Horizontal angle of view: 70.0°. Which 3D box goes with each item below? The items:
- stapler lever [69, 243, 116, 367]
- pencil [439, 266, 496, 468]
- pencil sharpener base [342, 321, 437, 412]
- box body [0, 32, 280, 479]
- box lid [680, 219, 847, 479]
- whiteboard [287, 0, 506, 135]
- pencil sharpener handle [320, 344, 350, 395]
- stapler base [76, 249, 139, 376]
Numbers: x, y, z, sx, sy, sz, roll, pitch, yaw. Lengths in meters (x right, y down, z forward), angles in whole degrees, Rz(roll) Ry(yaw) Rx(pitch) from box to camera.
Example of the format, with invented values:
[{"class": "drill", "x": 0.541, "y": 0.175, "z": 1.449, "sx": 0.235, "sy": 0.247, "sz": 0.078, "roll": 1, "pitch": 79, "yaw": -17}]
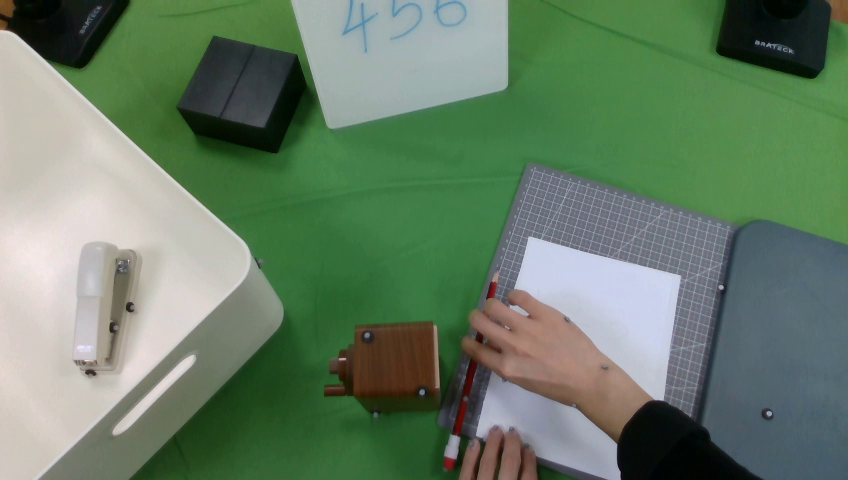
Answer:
[{"class": "stapler lever", "x": -0.315, "y": 0.059, "z": 0.574, "sx": 0.027, "sy": 0.040, "sz": 0.117, "roll": -1, "pitch": 70, "yaw": 2}, {"class": "pencil", "x": 0.043, "y": 0.115, "z": 0.568, "sx": 0.012, "sy": 0.012, "sz": 0.193, "roll": 14, "pitch": 75, "yaw": 7}, {"class": "pencil sharpener base", "x": -0.028, "y": 0.115, "z": 0.537, "sx": 0.077, "sy": 0.108, "sz": 0.061, "roll": -3, "pitch": 68, "yaw": 0}, {"class": "box body", "x": -0.341, "y": 0.025, "z": 0.547, "sx": 0.362, "sy": 0.161, "sz": 0.254, "roll": 39, "pitch": 73, "yaw": 15}, {"class": "box lid", "x": 0.388, "y": 0.169, "z": 0.562, "sx": 0.263, "sy": 0.015, "sz": 0.369, "roll": 18, "pitch": 69, "yaw": 7}, {"class": "whiteboard", "x": -0.039, "y": -0.296, "z": 0.631, "sx": 0.217, "sy": 0.308, "sz": 0.142, "roll": -13, "pitch": 48, "yaw": -4}, {"class": "pencil sharpener handle", "x": -0.079, "y": 0.117, "z": 0.523, "sx": 0.030, "sy": 0.068, "sz": 0.035, "roll": -3, "pitch": 51, "yaw": 0}, {"class": "stapler base", "x": -0.315, "y": 0.067, "z": 0.599, "sx": 0.041, "sy": 0.024, "sz": 0.129, "roll": -1, "pitch": 70, "yaw": 2}]
